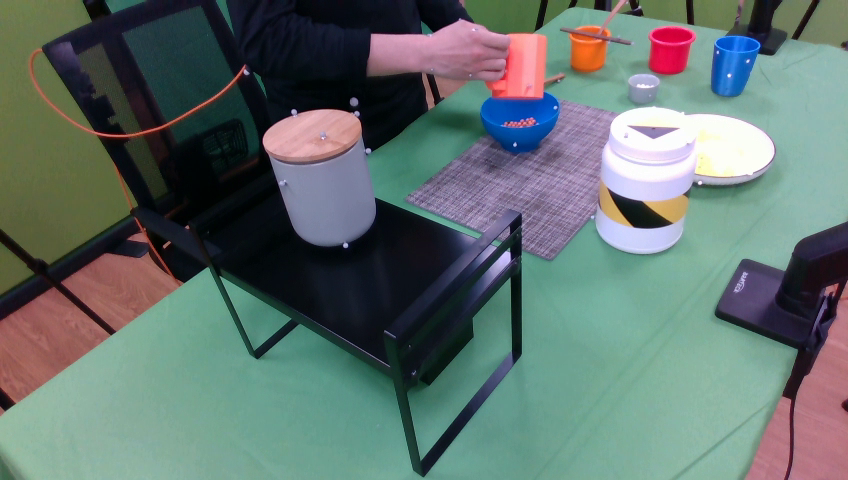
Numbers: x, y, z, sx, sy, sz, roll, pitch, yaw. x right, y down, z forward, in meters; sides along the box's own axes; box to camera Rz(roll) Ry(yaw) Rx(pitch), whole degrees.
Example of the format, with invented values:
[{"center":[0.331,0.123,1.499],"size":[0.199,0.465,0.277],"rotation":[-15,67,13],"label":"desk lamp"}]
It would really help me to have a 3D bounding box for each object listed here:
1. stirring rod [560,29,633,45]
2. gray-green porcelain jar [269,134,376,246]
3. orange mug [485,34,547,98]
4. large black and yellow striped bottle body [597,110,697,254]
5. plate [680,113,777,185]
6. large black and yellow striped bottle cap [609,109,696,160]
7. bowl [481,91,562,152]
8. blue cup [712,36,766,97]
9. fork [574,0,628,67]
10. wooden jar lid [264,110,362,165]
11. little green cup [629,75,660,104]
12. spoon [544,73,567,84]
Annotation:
[{"center":[0.381,-0.452,1.344],"size":[0.174,0.006,0.014],"rotation":[25,49,33],"label":"stirring rod"},{"center":[-0.115,-0.064,0.715],"size":[0.106,0.127,0.105],"rotation":[-4,40,4],"label":"gray-green porcelain jar"},{"center":[0.146,-0.286,0.994],"size":[0.083,0.101,0.127],"rotation":[11,10,43],"label":"orange mug"},{"center":[0.331,-0.086,0.903],"size":[0.131,0.185,0.130],"rotation":[-5,41,4],"label":"large black and yellow striped bottle body"},{"center":[0.506,-0.158,1.073],"size":[0.209,0.038,0.208],"rotation":[-5,40,4],"label":"plate"},{"center":[0.319,-0.150,0.849],"size":[0.115,0.019,0.114],"rotation":[-4,39,3],"label":"large black and yellow striped bottle cap"},{"center":[0.187,-0.222,1.161],"size":[0.151,0.077,0.150],"rotation":[-5,40,4],"label":"bowl"},{"center":[0.627,-0.350,1.227],"size":[0.092,0.100,0.092],"rotation":[-4,39,4],"label":"blue cup"},{"center":[0.413,-0.481,1.377],"size":[0.207,0.019,0.028],"rotation":[-56,43,12],"label":"fork"},{"center":[-0.122,-0.112,0.673],"size":[0.108,0.021,0.108],"rotation":[-5,37,4],"label":"wooden jar lid"},{"center":[0.457,-0.314,1.260],"size":[0.061,0.039,0.061],"rotation":[-4,40,4],"label":"little green cup"},{"center":[0.250,-0.336,1.332],"size":[0.194,0.022,0.041],"rotation":[-32,31,-26],"label":"spoon"}]
